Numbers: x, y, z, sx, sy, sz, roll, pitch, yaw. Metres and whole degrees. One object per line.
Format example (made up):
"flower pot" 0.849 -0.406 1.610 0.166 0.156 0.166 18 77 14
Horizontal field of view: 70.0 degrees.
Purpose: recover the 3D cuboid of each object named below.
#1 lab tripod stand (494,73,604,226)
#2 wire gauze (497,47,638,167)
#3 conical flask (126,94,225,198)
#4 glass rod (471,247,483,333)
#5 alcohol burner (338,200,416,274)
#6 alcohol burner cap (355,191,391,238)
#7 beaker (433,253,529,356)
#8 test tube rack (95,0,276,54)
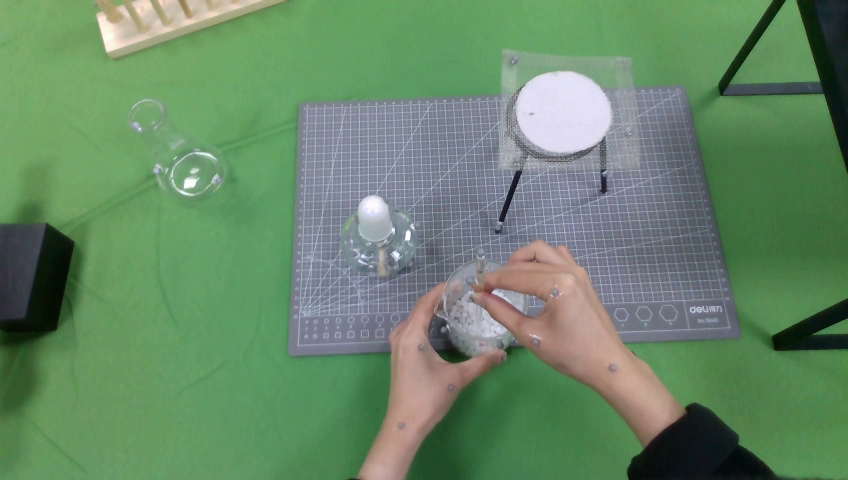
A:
"lab tripod stand" 0.122 -0.091 0.604 0.148 0.132 0.147 0 67 0
"wire gauze" 0.128 -0.120 0.543 0.121 0.011 0.124 3 69 1
"conical flask" -0.260 -0.100 0.625 0.075 0.122 0.075 0 68 2
"glass rod" 0.043 0.047 0.506 0.008 0.201 0.008 -1 66 3
"alcohol burner" -0.047 -0.011 0.588 0.078 0.120 0.077 0 67 0
"alcohol burner cap" -0.048 -0.026 0.555 0.034 0.048 0.033 1 62 -1
"beaker" 0.050 0.066 0.564 0.084 0.101 0.073 -12 68 -2
"test tube rack" -0.285 -0.313 0.727 0.242 0.086 0.066 -21 70 -7
